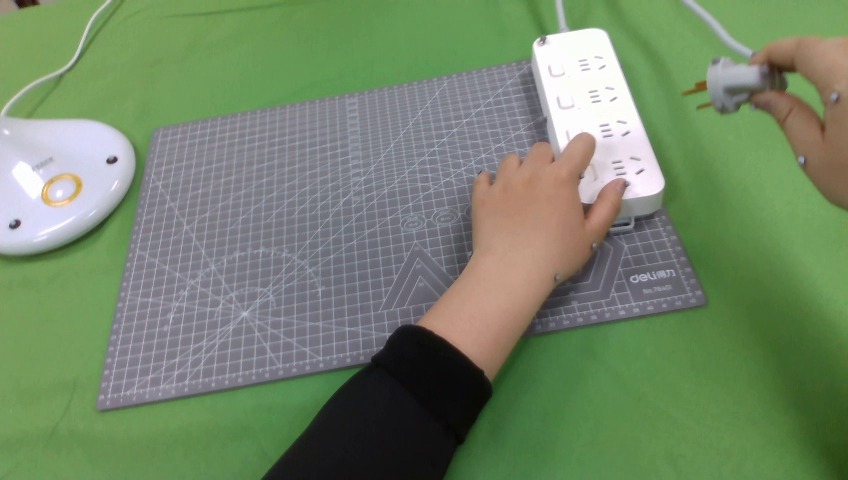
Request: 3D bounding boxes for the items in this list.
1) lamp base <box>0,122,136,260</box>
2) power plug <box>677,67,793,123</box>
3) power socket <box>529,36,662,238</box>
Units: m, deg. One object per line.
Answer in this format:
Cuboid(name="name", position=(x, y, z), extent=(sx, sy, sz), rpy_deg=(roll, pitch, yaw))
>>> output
Cuboid(name="lamp base", position=(-0.376, -0.097, 0.521), extent=(0.178, 0.182, 0.160), rpy_deg=(23, 61, 27))
Cuboid(name="power plug", position=(0.205, -0.089, 0.398), extent=(0.052, 0.073, 0.035), rpy_deg=(-5, 73, 48))
Cuboid(name="power socket", position=(0.143, -0.101, 0.527), extent=(0.072, 0.033, 0.224), rpy_deg=(-7, 53, 3))
